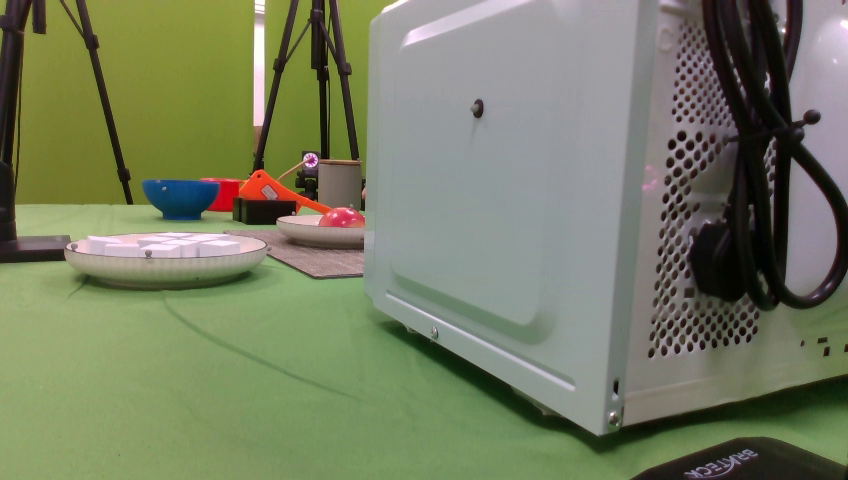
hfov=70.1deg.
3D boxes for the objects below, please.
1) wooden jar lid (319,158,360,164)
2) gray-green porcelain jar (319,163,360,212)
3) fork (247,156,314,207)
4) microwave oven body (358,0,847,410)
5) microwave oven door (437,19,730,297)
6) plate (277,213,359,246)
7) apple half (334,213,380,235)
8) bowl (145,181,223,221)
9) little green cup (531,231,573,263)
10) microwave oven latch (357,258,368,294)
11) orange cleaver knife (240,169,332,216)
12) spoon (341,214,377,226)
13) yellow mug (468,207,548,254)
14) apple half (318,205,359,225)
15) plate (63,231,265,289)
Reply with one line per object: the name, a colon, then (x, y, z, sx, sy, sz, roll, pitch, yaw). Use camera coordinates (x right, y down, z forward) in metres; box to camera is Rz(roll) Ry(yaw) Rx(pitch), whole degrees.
wooden jar lid: (-0.203, -0.189, 1.481, 0.108, 0.020, 0.108, 2, 9, 0)
gray-green porcelain jar: (-0.204, -0.126, 1.490, 0.106, 0.126, 0.106, 2, 7, 0)
fork: (-0.360, -0.147, 1.523, 0.207, 0.019, 0.028, -43, 16, -7)
microwave oven body: (0.210, -0.051, 0.471, 0.444, 0.260, 0.324, -1, 7, -28)
microwave oven door: (0.181, -0.076, 0.618, 0.358, 0.243, 0.039, -2, 9, -28)
plate: (-0.135, -0.018, 0.994, 0.209, 0.038, 0.209, 2, 7, 0)
apple half: (-0.112, -0.029, 1.034, 0.081, 0.033, 0.081, 0, 10, 0)
bowl: (-0.499, -0.081, 1.261, 0.151, 0.077, 0.151, 2, 7, 0)
little green cup: (0.184, 0.009, 0.878, 0.061, 0.038, 0.061, 4, 8, 0)
microwave oven latch: (-0.019, 0.031, 0.529, 0.079, 0.029, 0.030, -1, 7, -27)
orange cleaver knife: (-0.287, -0.082, 1.298, 0.212, 0.077, 0.012, 25, -2, -31)
spoon: (-0.132, -0.047, 1.305, 0.041, 0.021, 0.194, -13, 4, 14)
yellow mug: (0.136, -0.015, 0.950, 0.131, 0.064, 0.099, 3, 5, -20)
apple half: (-0.126, -0.029, 0.954, 0.081, 0.053, 0.074, -2, 11, -33)
plate: (-0.288, 0.021, 0.687, 0.208, 0.039, 0.207, 2, 8, 0)
